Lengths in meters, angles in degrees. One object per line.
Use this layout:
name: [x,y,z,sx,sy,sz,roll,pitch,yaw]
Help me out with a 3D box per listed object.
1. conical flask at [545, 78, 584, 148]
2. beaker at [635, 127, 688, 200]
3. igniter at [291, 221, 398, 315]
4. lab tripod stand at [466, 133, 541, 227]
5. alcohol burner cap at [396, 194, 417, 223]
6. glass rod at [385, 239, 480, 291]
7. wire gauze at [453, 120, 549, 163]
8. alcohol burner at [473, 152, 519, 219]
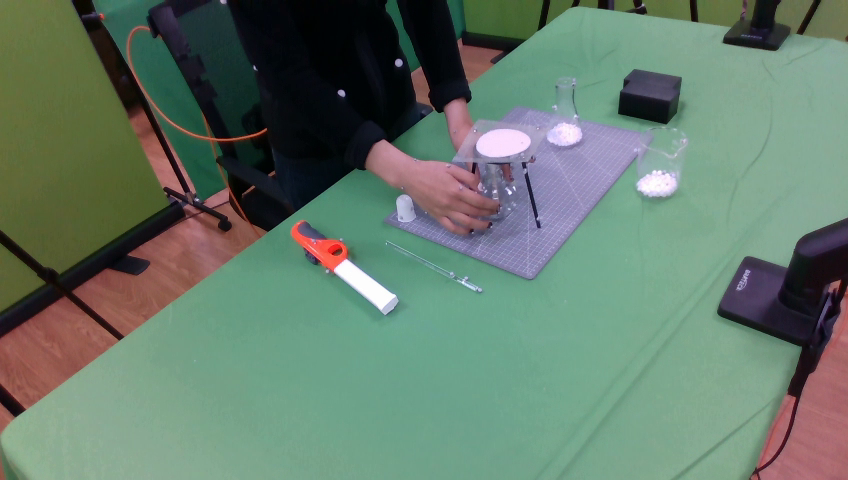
conical flask: [0.264,-0.241,1.135,0.075,0.122,0.075,-6,40,5]
beaker: [0.388,-0.122,0.994,0.074,0.101,0.083,-8,40,2]
igniter: [-0.136,0.037,0.962,0.057,0.025,0.274,-41,48,-18]
lab tripod stand: [0.130,-0.099,0.985,0.148,0.132,0.147,-7,38,6]
alcohol burner cap: [-0.032,-0.056,1.036,0.034,0.048,0.033,-6,40,6]
glass rod: [0.009,0.036,0.949,0.198,0.008,0.008,27,52,34]
wire gauze: [0.121,-0.153,0.946,0.121,0.011,0.125,9,41,22]
alcohol burner: [0.117,-0.094,0.998,0.078,0.119,0.077,-6,40,6]
